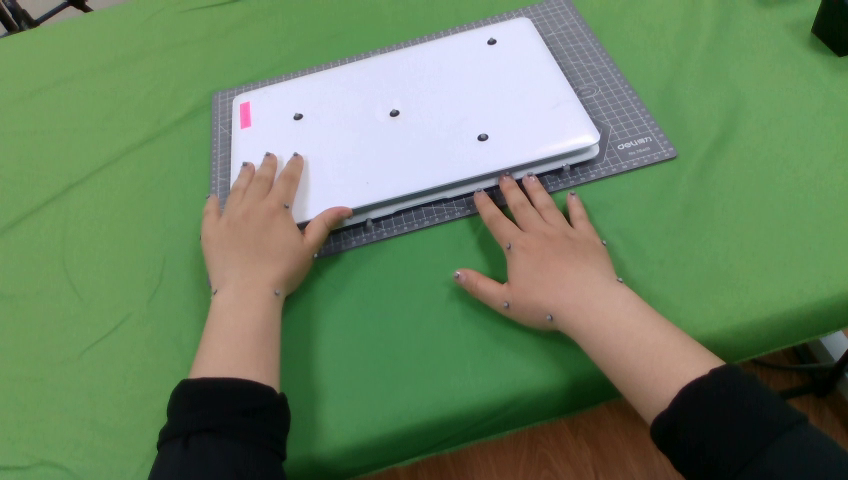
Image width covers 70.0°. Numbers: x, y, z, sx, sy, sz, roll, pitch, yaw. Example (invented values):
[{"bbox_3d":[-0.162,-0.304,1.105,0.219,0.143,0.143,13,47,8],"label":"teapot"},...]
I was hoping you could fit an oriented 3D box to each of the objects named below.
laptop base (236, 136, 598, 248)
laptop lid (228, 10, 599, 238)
[{"bbox_3d":[-0.027,-0.123,0.635,0.354,0.023,0.233,-16,54,0],"label":"laptop base"},{"bbox_3d":[-0.031,-0.132,0.619,0.357,0.013,0.239,-14,50,1],"label":"laptop lid"}]
